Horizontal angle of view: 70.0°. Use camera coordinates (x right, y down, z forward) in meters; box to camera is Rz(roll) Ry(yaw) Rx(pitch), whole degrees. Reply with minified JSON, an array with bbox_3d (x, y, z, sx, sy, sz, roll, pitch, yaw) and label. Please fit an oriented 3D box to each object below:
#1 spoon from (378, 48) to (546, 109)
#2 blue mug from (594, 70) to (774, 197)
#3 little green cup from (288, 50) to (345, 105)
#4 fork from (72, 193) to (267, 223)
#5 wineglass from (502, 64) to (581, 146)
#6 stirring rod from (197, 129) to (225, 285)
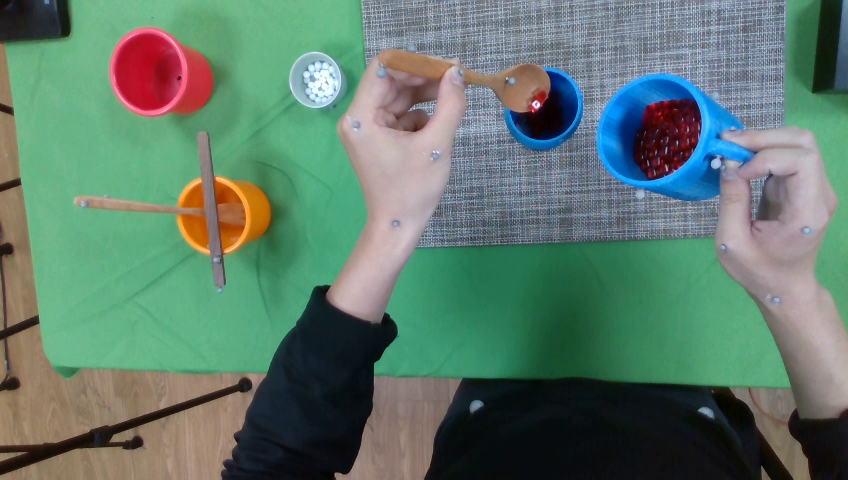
[{"bbox_3d":[0.037,-0.124,0.451,0.021,0.194,0.042,37,117,28],"label":"spoon"},{"bbox_3d":[0.206,-0.074,0.465,0.115,0.106,0.082,26,105,38],"label":"blue mug"},{"bbox_3d":[-0.122,-0.185,0.702,0.061,0.038,0.061,2,99,10],"label":"little green cup"},{"bbox_3d":[-0.283,-0.038,0.694,0.209,0.018,0.028,4,109,-35],"label":"fork"},{"bbox_3d":[0.115,-0.128,0.597,0.073,0.172,0.074,1,97,10],"label":"wineglass"},{"bbox_3d":[-0.241,-0.036,0.685,0.014,0.006,0.176,-2,97,11],"label":"stirring rod"}]
